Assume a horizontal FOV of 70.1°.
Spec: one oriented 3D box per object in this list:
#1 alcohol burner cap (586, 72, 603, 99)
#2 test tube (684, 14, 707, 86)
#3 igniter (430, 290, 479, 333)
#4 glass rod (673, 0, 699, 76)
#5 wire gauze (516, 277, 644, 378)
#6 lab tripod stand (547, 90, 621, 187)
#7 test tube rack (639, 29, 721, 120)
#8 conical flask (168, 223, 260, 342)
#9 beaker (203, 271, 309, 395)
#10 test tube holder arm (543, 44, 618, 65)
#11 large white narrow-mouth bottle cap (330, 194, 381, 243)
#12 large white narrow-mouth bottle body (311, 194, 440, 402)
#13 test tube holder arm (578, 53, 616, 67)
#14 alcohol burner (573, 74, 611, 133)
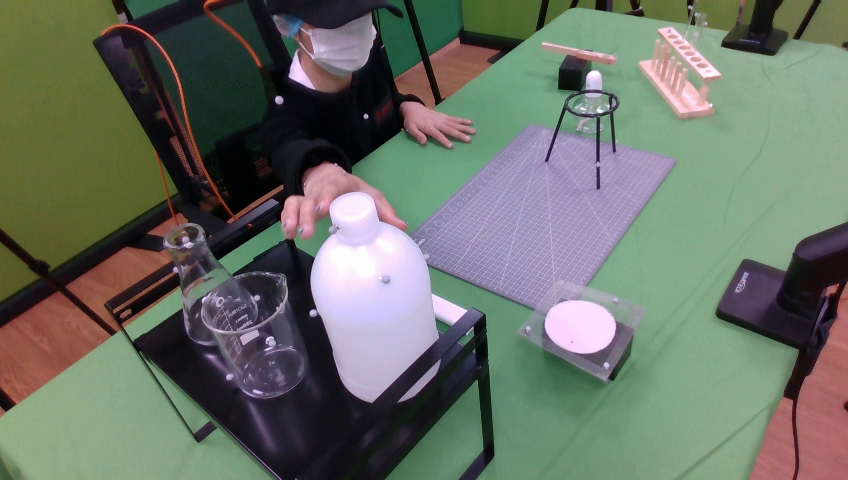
[{"bbox_3d":[0.325,-0.297,1.154,0.034,0.048,0.033,-8,35,6],"label":"alcohol burner cap"},{"bbox_3d":[0.541,-0.379,1.216,0.017,0.151,0.017,-2,44,2],"label":"test tube"},{"bbox_3d":[-0.038,0.068,0.905,0.274,0.025,0.057,24,60,32],"label":"igniter"},{"bbox_3d":[0.541,-0.426,1.246,0.008,0.200,0.008,-1,48,1],"label":"glass rod"},{"bbox_3d":[0.197,0.103,0.765,0.124,0.011,0.122,23,50,31],"label":"wire gauze"},{"bbox_3d":[0.288,-0.184,1.062,0.148,0.132,0.147,-6,41,6],"label":"lab tripod stand"},{"bbox_3d":[0.527,-0.351,1.262,0.067,0.085,0.241,-8,40,1],"label":"test tube rack"},{"bbox_3d":[-0.219,0.040,0.614,0.075,0.122,0.075,-5,40,4],"label":"conical flask"},{"bbox_3d":[-0.150,0.088,0.565,0.073,0.101,0.084,21,47,29],"label":"beaker"},{"bbox_3d":[0.344,-0.412,1.340,0.177,0.015,0.013,24,51,31],"label":"test tube holder arm"},{"bbox_3d":[-0.053,-0.017,0.467,0.038,0.024,0.037,-4,40,4],"label":"large white narrow-mouth bottle cap"},{"bbox_3d":[-0.044,0.046,0.522,0.102,0.195,0.101,-5,40,4],"label":"large white narrow-mouth bottle body"},{"bbox_3d":[0.375,-0.393,1.314,0.087,0.015,0.010,25,52,32],"label":"test tube holder arm"},{"bbox_3d":[0.330,-0.270,1.177,0.078,0.119,0.077,-4,43,4],"label":"alcohol burner"}]
